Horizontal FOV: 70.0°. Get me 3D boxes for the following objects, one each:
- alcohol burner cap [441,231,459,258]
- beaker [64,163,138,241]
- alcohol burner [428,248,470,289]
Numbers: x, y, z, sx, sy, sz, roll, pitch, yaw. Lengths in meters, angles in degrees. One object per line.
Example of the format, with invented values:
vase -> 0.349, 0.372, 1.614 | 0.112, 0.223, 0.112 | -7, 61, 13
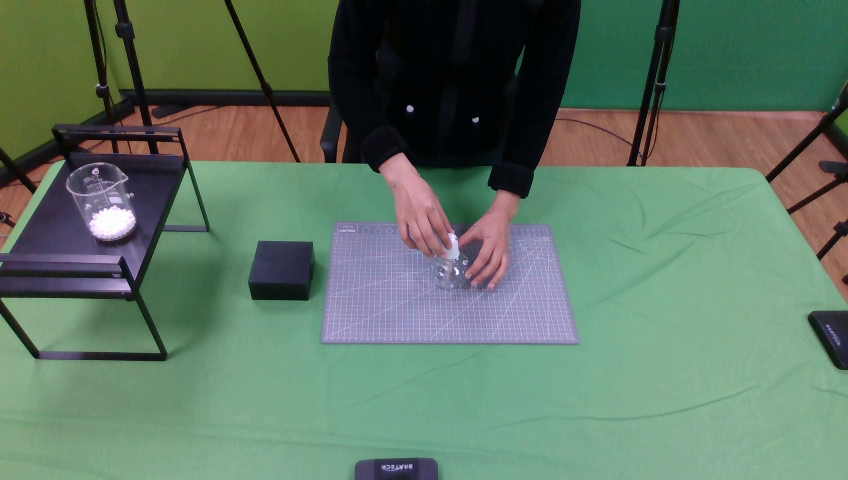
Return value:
alcohol burner cap -> 0.046, 0.005, 1.075 | 0.034, 0.048, 0.033 | 1, 41, -1
beaker -> -0.477, -0.055, 0.910 | 0.084, 0.101, 0.073 | -9, 48, -13
alcohol burner -> 0.045, 0.032, 1.099 | 0.078, 0.120, 0.077 | 0, 45, 0
